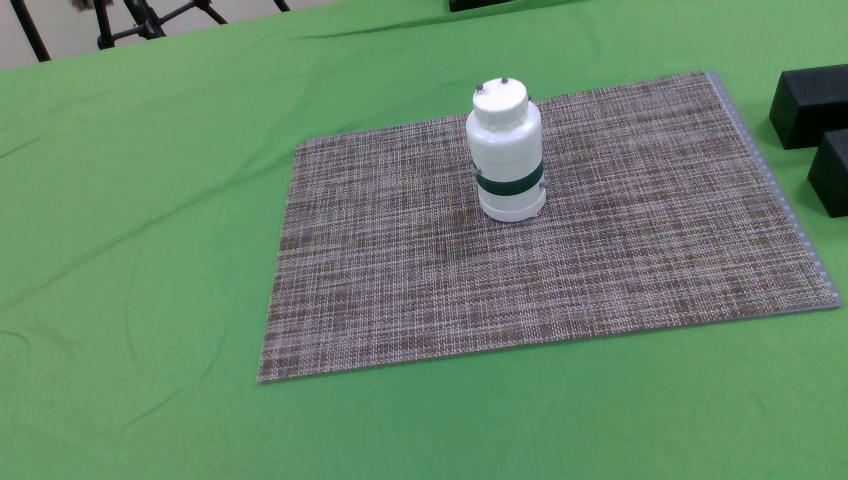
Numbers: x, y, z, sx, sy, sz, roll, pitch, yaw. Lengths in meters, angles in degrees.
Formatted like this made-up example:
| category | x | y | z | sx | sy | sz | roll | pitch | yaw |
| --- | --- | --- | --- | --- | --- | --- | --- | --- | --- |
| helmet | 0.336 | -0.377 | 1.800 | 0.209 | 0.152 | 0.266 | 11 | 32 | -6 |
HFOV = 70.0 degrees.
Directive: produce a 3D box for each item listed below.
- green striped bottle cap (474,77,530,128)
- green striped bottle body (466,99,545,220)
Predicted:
| category | x | y | z | sx | sy | sz | roll | pitch | yaw |
| --- | --- | --- | --- | --- | --- | --- | --- | --- | --- |
| green striped bottle cap | 0.063 | -0.111 | 0.487 | 0.044 | 0.020 | 0.044 | -9 | 49 | 11 |
| green striped bottle body | 0.072 | -0.078 | 0.527 | 0.063 | 0.120 | 0.062 | -7 | 49 | 9 |
